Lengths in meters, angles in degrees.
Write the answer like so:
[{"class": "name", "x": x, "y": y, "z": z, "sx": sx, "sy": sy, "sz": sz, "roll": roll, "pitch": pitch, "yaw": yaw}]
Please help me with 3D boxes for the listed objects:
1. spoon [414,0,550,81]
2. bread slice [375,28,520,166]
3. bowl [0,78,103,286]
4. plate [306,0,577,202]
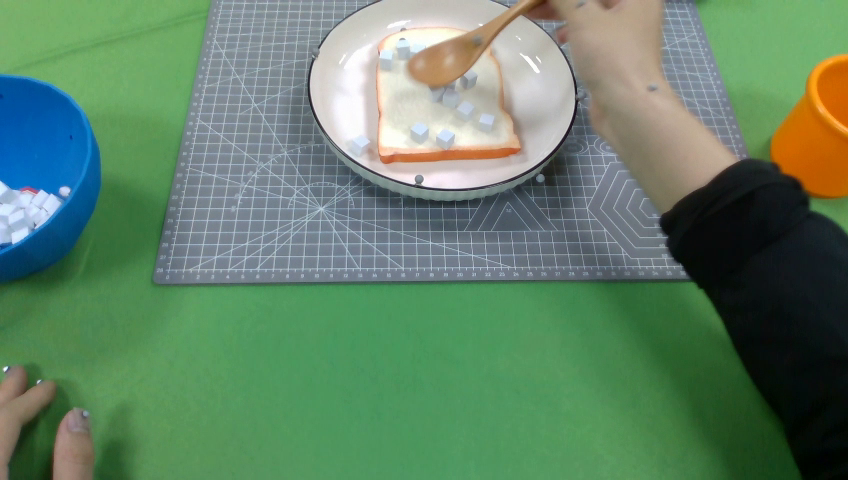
[{"class": "spoon", "x": 0.080, "y": -0.168, "z": 0.435, "sx": 0.193, "sy": 0.022, "sz": 0.041, "roll": -29, "pitch": 56, "yaw": 11}, {"class": "bread slice", "x": 0.010, "y": -0.117, "z": 0.487, "sx": 0.107, "sy": 0.018, "sz": 0.133, "roll": -7, "pitch": 63, "yaw": -6}, {"class": "bowl", "x": -0.280, "y": -0.024, "z": 0.398, "sx": 0.151, "sy": 0.077, "sz": 0.150, "roll": 1, "pitch": 60, "yaw": -2}, {"class": "plate", "x": 0.013, "y": -0.114, "z": 0.482, "sx": 0.209, "sy": 0.038, "sz": 0.207, "roll": 1, "pitch": 61, "yaw": -2}]
